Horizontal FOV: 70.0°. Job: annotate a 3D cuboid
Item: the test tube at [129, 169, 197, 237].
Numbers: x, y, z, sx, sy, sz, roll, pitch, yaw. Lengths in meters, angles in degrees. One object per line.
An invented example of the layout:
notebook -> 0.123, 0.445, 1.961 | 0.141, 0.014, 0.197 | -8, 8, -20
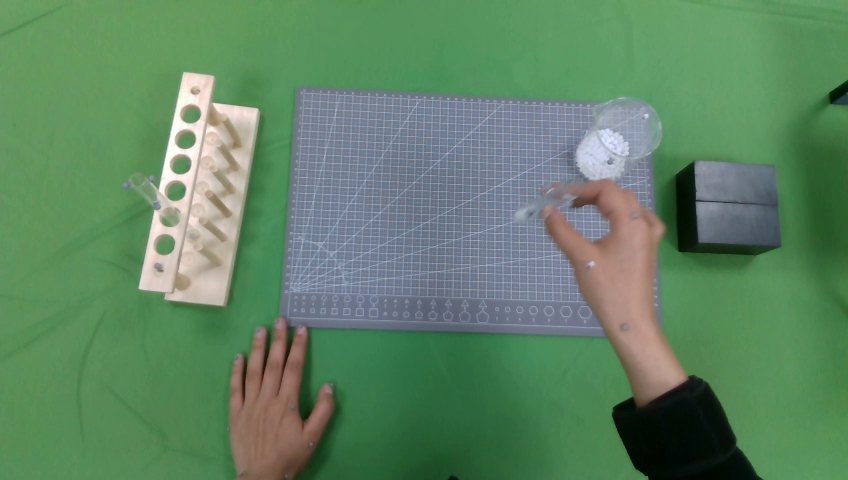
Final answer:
test tube -> -0.264, -0.034, 0.625 | 0.017, 0.151, 0.017 | 1, 71, -1

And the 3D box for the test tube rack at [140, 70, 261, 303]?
test tube rack -> -0.245, -0.057, 0.681 | 0.067, 0.085, 0.241 | 7, 78, -2

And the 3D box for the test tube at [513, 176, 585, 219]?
test tube -> 0.106, -0.035, 0.538 | 0.017, 0.150, 0.017 | 1, 84, -8

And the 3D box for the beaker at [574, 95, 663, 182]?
beaker -> 0.221, -0.116, 0.714 | 0.084, 0.100, 0.074 | 33, 77, 6
